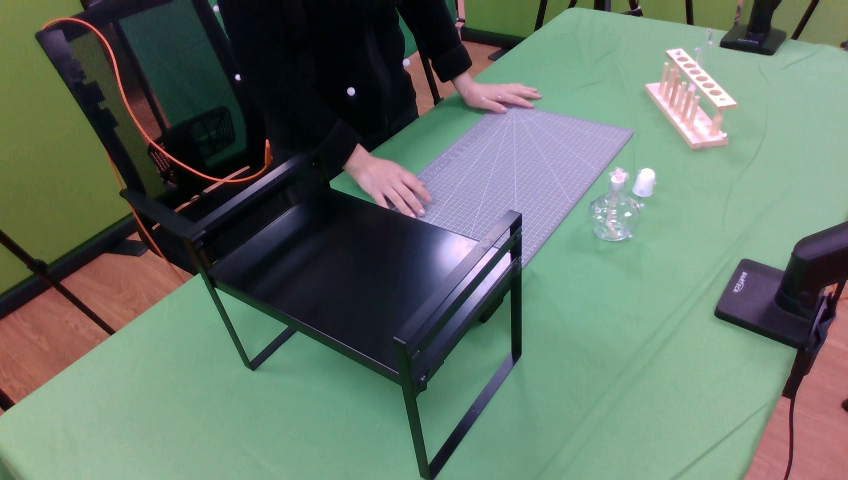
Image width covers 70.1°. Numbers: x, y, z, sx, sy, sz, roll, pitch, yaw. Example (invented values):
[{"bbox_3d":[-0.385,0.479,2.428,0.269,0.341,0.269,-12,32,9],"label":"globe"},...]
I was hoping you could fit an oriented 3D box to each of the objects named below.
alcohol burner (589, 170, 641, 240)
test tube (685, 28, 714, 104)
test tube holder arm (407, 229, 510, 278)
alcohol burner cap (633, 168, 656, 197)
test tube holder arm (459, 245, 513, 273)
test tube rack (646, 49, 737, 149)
[{"bbox_3d":[0.295,-0.058,0.930,0.078,0.119,0.077,-3,41,3],"label":"alcohol burner"},{"bbox_3d":[0.524,-0.328,1.152,0.017,0.151,0.017,-1,42,1],"label":"test tube"},{"bbox_3d":[0.046,0.017,0.877,0.177,0.015,0.013,21,64,30],"label":"test tube holder arm"},{"bbox_3d":[0.374,-0.099,1.018,0.034,0.048,0.033,0,41,1],"label":"alcohol burner cap"},{"bbox_3d":[0.085,0.027,0.857,0.087,0.015,0.010,21,64,30],"label":"test tube holder arm"},{"bbox_3d":[0.511,-0.280,1.175,0.067,0.085,0.241,-8,41,1],"label":"test tube rack"}]
